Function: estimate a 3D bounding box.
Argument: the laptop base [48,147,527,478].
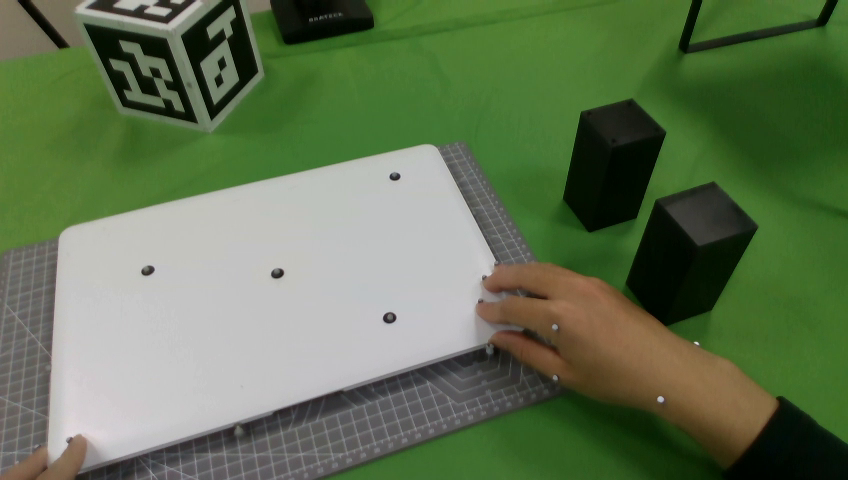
[{"bbox_3d":[-0.119,0.037,0.511,0.355,0.023,0.233,-15,53,-12],"label":"laptop base"}]

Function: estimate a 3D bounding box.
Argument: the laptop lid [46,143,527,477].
[{"bbox_3d":[-0.119,0.030,0.501,0.357,0.013,0.239,-14,52,-10],"label":"laptop lid"}]
